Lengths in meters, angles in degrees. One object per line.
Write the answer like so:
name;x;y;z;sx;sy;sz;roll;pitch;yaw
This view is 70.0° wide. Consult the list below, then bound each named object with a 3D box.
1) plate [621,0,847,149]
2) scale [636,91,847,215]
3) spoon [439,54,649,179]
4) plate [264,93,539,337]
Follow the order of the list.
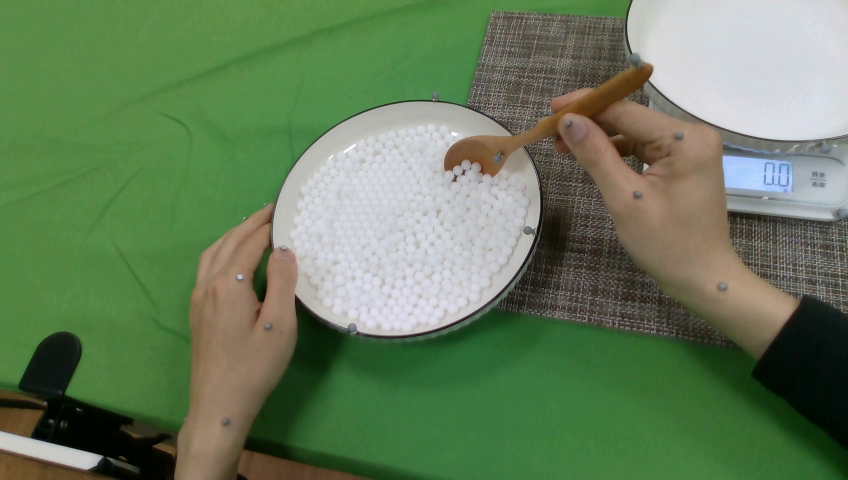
plate;0.254;-0.150;0.456;0.207;0.039;0.206;-3;63;7
scale;0.251;-0.117;0.477;0.148;0.032;0.199;8;65;13
spoon;0.070;-0.076;0.406;0.042;0.193;0.021;43;64;-18
plate;-0.017;-0.021;0.466;0.209;0.038;0.207;-4;63;7
